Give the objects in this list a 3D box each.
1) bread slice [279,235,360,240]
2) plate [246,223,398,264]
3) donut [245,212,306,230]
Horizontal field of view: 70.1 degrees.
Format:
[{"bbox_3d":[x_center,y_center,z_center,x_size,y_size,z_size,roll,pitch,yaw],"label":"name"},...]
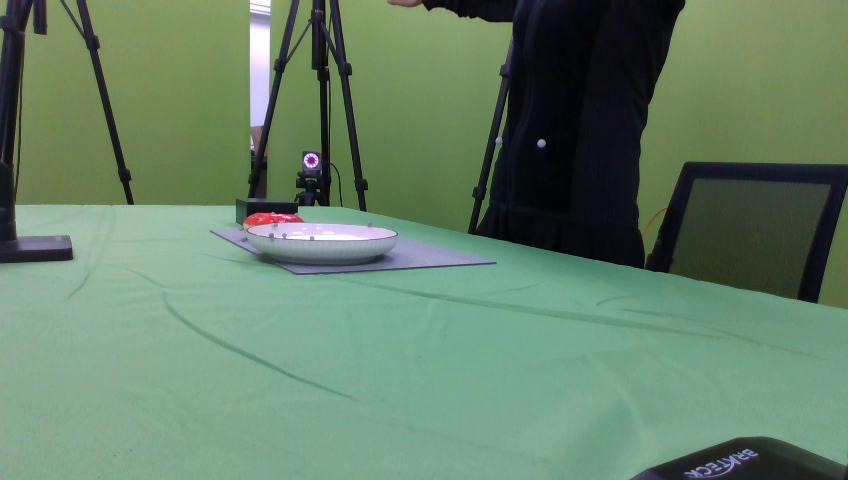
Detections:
[{"bbox_3d":[-0.139,0.007,0.839,0.132,0.019,0.104,-2,8,-35],"label":"bread slice"},{"bbox_3d":[-0.140,0.004,0.847,0.209,0.038,0.209,2,7,0],"label":"plate"},{"bbox_3d":[-0.244,-0.023,0.997,0.099,0.048,0.099,2,5,0],"label":"donut"}]
